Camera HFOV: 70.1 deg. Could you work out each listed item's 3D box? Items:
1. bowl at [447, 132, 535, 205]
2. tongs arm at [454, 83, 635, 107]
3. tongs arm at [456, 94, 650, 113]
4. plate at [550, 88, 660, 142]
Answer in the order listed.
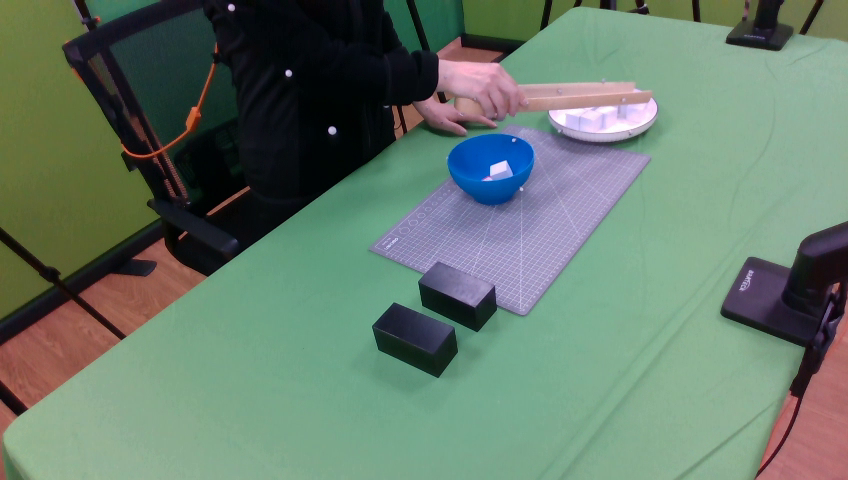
[{"bbox_3d":[0.119,-0.115,1.051,0.151,0.077,0.150,-6,40,5],"label":"bowl"},{"bbox_3d":[0.229,-0.262,1.093,0.387,0.026,0.050,-5,38,-19],"label":"tongs arm"},{"bbox_3d":[0.240,-0.245,1.070,0.390,0.028,0.028,-6,42,-20],"label":"tongs arm"},{"bbox_3d":[0.355,-0.246,1.195,0.207,0.039,0.206,-5,39,5],"label":"plate"}]
